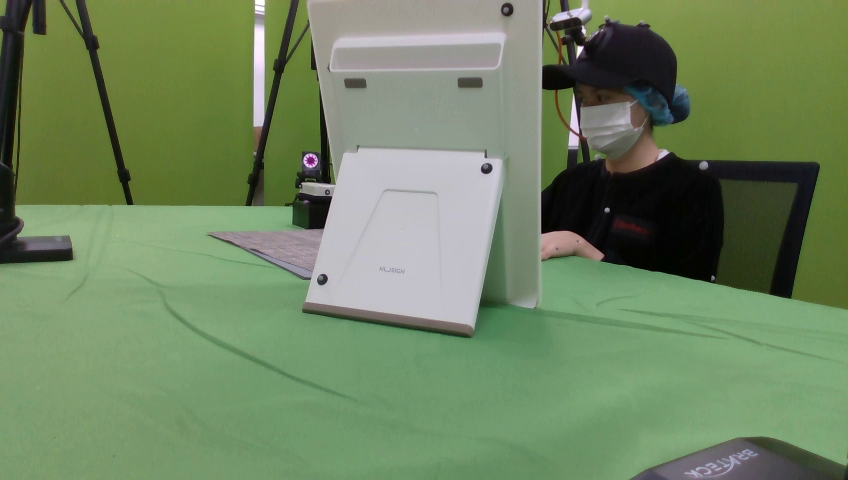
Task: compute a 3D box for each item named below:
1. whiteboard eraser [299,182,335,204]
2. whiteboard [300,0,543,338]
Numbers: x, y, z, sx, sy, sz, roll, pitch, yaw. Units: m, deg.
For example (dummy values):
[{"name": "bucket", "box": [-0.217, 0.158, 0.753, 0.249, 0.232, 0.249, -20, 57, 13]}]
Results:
[{"name": "whiteboard eraser", "box": [-0.214, -0.097, 1.231, 0.056, 0.042, 0.112, -3, 9, -28]}, {"name": "whiteboard", "box": [-0.020, -0.050, 0.523, 0.216, 0.305, 0.144, 6, 27, 22]}]
